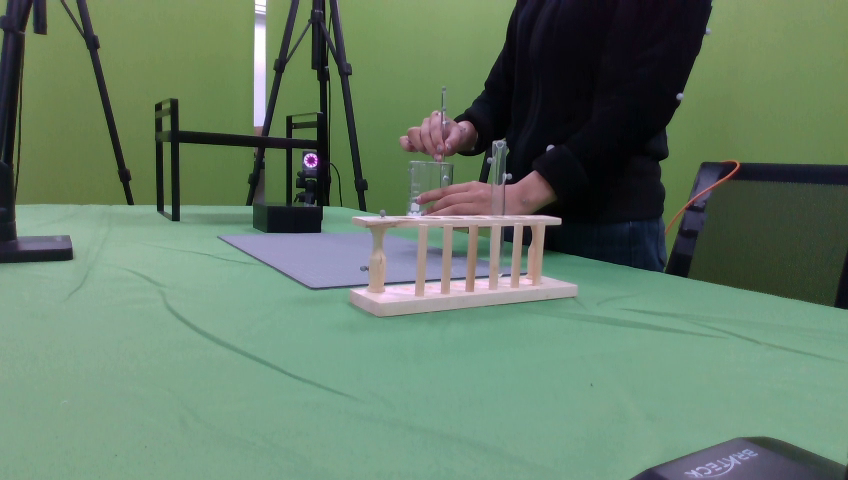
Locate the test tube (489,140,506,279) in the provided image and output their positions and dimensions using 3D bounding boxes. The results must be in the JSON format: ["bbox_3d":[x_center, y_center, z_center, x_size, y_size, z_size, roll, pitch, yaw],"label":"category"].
[{"bbox_3d":[0.079,-0.033,0.653,0.017,0.150,0.017,1,2,0],"label":"test tube"}]

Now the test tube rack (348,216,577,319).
[{"bbox_3d":[0.048,0.021,0.619,0.244,0.085,0.066,-2,9,-31],"label":"test tube rack"}]

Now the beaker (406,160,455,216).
[{"bbox_3d":[0.010,-0.072,0.947,0.073,0.100,0.084,8,7,33],"label":"beaker"}]

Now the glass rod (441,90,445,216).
[{"bbox_3d":[0.030,-0.135,0.945,0.008,0.199,0.008,0,1,0],"label":"glass rod"}]
